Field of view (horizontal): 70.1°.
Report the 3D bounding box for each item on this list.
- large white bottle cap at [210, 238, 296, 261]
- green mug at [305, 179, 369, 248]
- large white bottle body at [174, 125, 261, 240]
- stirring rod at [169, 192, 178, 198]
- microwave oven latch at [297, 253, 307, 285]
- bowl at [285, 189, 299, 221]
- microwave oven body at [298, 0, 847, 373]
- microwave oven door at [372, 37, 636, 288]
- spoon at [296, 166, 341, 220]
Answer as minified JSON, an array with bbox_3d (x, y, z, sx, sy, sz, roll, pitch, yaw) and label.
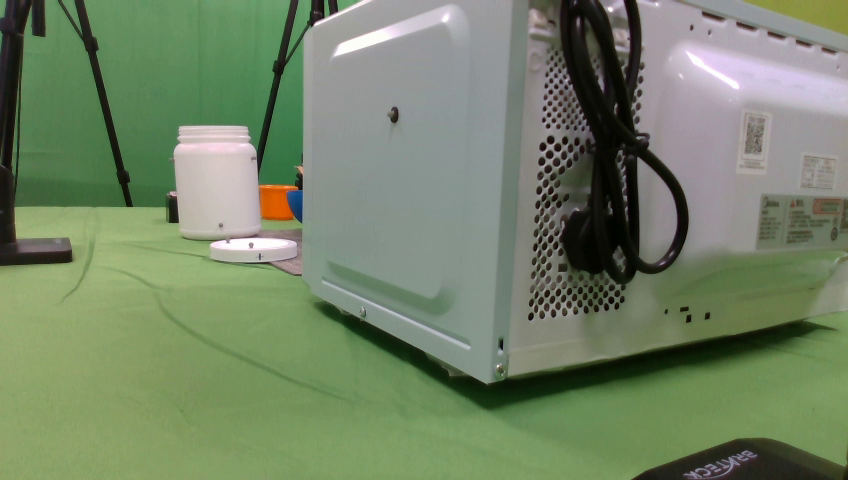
[{"bbox_3d":[-0.236,0.012,0.839,0.115,0.018,0.115,1,7,0],"label":"large white bottle cap"},{"bbox_3d":[-0.133,-0.045,0.977,0.092,0.105,0.126,6,8,32],"label":"green mug"},{"bbox_3d":[-0.349,-0.100,1.025,0.131,0.184,0.130,-1,9,0],"label":"large white bottle body"},{"bbox_3d":[-0.465,-0.098,1.283,0.014,0.006,0.177,42,21,17],"label":"stirring rod"},{"bbox_3d":[-0.081,0.027,0.582,0.079,0.029,0.030,-1,7,-32],"label":"microwave oven latch"},{"bbox_3d":[-0.180,-0.050,1.113,0.151,0.077,0.151,3,8,0],"label":"bowl"},{"bbox_3d":[0.151,-0.055,0.542,0.444,0.260,0.324,-2,7,-33],"label":"microwave oven body"},{"bbox_3d":[0.109,-0.080,0.686,0.358,0.243,0.039,-2,9,-33],"label":"microwave oven door"},{"bbox_3d":[-0.208,-0.095,1.167,0.042,0.021,0.193,-10,45,-28],"label":"spoon"}]
